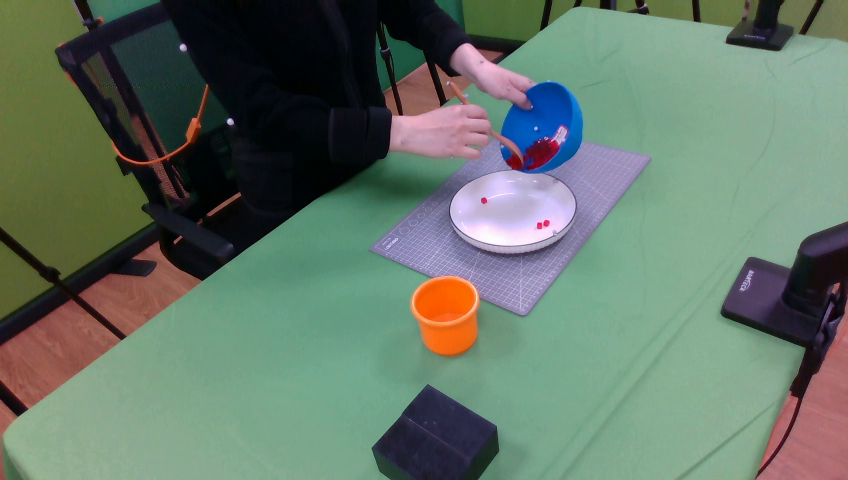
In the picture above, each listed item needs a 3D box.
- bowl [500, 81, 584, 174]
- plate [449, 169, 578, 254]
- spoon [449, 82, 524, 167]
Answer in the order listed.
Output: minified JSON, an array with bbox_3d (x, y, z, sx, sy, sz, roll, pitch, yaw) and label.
[{"bbox_3d":[0.206,-0.172,0.983,0.077,0.151,0.150,16,24,-38],"label":"bowl"},{"bbox_3d":[0.147,-0.044,0.994,0.209,0.038,0.208,-5,40,5],"label":"plate"},{"bbox_3d":[0.099,-0.175,0.930,0.021,0.195,0.041,-46,35,12],"label":"spoon"}]
